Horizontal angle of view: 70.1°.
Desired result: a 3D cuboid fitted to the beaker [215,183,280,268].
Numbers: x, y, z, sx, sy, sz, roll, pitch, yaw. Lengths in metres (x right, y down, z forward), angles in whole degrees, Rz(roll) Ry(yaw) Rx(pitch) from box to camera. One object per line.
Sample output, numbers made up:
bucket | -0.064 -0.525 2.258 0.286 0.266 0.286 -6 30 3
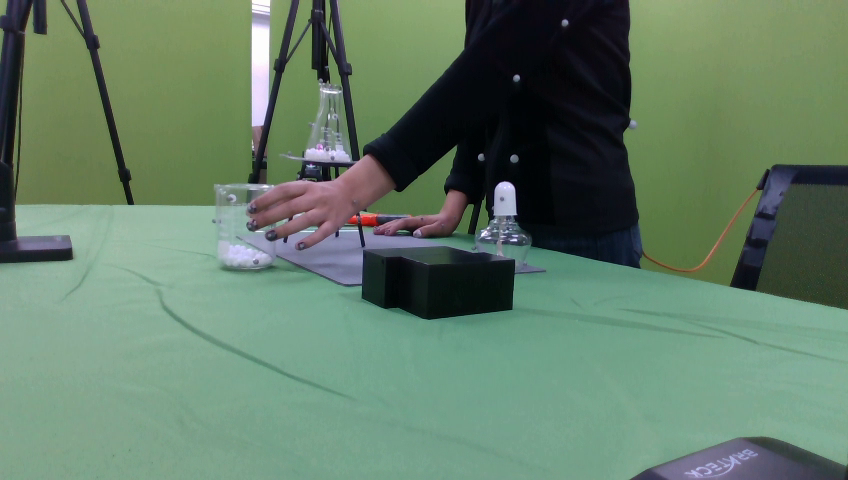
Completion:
beaker | -0.219 -0.019 0.742 0.084 0.100 0.074 4 7 18

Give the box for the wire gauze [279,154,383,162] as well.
wire gauze | -0.149 -0.128 0.974 0.124 0.011 0.122 7 6 41

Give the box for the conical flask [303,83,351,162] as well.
conical flask | -0.152 -0.186 0.963 0.075 0.122 0.075 4 6 0

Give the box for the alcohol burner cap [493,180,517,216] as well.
alcohol burner cap | 0.107 -0.056 0.799 0.034 0.048 0.034 1 3 0

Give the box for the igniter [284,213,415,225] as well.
igniter | -0.154 -0.045 1.282 0.278 0.025 0.057 0 -3 -20

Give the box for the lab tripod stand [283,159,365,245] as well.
lab tripod stand | -0.151 -0.063 0.984 0.148 0.131 0.148 4 7 0

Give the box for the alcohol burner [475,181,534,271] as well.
alcohol burner | 0.108 -0.020 0.804 0.078 0.119 0.078 3 5 0

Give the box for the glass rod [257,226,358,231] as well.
glass rod | -0.216 -0.022 1.151 0.201 0.008 0.008 -2 8 -28
